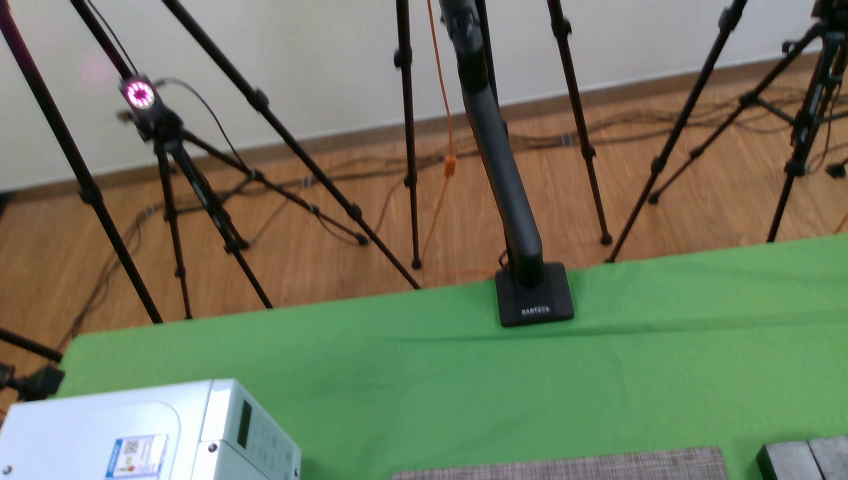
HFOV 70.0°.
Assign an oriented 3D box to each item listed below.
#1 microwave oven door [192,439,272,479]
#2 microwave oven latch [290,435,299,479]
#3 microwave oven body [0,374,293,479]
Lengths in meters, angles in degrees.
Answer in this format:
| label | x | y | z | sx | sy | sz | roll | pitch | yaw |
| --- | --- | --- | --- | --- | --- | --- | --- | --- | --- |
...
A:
| label | x | y | z | sx | sy | sz | roll | pitch | yaw |
| --- | --- | --- | --- | --- | --- | --- | --- | --- | --- |
| microwave oven door | -0.210 | 0.429 | 0.653 | 0.039 | 0.246 | 0.352 | -9 | 50 | 7 |
| microwave oven latch | -0.198 | 0.324 | 0.869 | 0.030 | 0.030 | 0.078 | -8 | 51 | 7 |
| microwave oven body | -0.354 | 0.422 | 0.700 | 0.326 | 0.263 | 0.437 | -8 | 51 | 6 |
